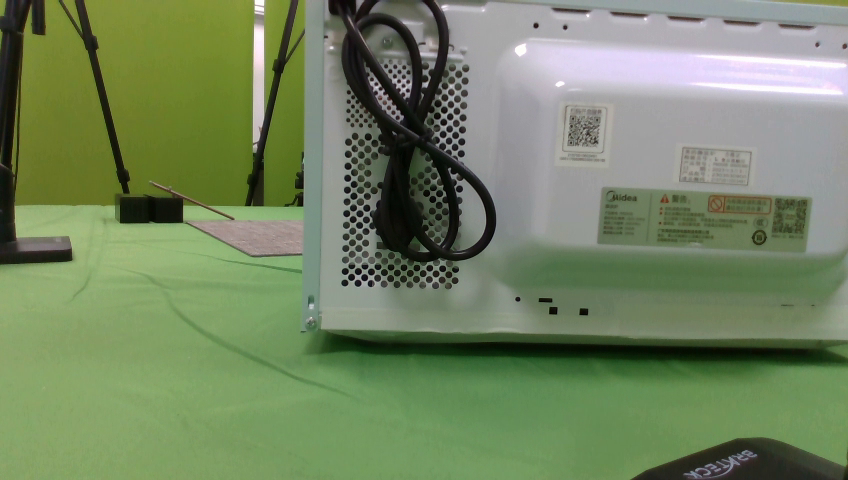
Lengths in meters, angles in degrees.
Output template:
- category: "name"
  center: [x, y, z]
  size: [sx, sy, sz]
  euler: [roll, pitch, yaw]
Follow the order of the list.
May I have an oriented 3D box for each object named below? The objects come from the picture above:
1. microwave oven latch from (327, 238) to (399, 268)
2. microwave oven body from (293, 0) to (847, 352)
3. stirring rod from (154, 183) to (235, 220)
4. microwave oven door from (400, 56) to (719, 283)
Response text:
- category: "microwave oven latch"
  center: [-0.069, 0.015, 0.694]
  size: [0.079, 0.029, 0.030]
  euler: [3, 7, -3]
- category: "microwave oven body"
  center: [0.122, -0.055, 0.550]
  size: [0.442, 0.260, 0.325]
  euler: [3, 7, -5]
- category: "stirring rod"
  center: [-0.472, -0.079, 1.252]
  size: [0.177, 0.006, 0.014]
  euler: [27, 4, -35]
- category: "microwave oven door"
  center: [0.155, -0.077, 0.697]
  size: [0.356, 0.243, 0.039]
  euler: [2, 8, -5]
